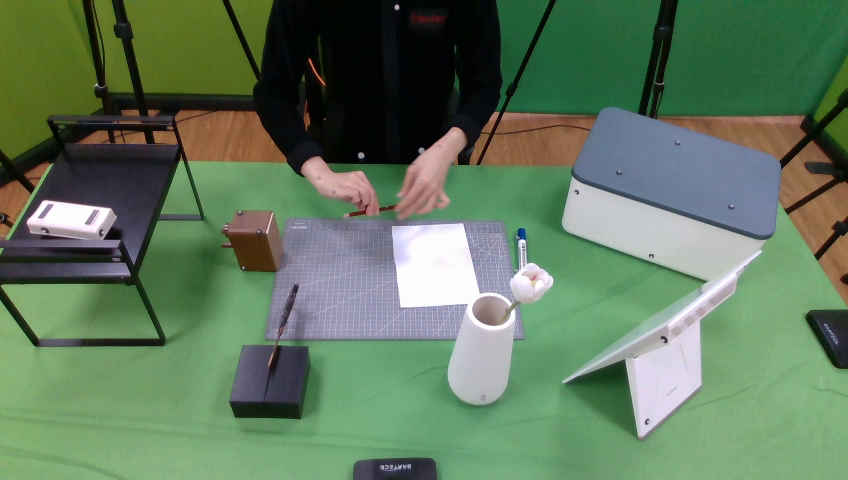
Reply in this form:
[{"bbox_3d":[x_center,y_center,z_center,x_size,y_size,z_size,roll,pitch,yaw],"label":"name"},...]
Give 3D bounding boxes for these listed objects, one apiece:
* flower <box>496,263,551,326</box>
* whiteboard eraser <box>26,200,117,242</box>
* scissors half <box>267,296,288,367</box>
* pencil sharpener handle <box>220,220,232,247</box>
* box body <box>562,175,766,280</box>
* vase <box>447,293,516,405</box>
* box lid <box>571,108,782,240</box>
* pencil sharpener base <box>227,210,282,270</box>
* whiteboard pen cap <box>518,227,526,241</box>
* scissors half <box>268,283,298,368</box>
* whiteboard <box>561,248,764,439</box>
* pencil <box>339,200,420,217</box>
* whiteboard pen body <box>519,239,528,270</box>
[{"bbox_3d":[0.102,0.121,0.853,0.044,0.363,0.038,-2,64,-10],"label":"flower"},{"bbox_3d":[-0.532,-0.026,0.919,0.113,0.042,0.055,7,45,3],"label":"whiteboard eraser"},{"bbox_3d":[-0.239,0.150,0.997,0.013,0.040,0.174,24,24,-13],"label":"scissors half"},{"bbox_3d":[-0.362,-0.009,1.105,0.030,0.068,0.036,1,52,1],"label":"pencil sharpener handle"},{"bbox_3d":[0.486,-0.088,1.222,0.363,0.161,0.253,20,48,15],"label":"box body"},{"bbox_3d":[0.091,0.169,0.921,0.098,0.201,0.097,3,47,-3],"label":"vase"},{"bbox_3d":[0.491,-0.139,1.168,0.370,0.015,0.262,21,49,15],"label":"box lid"},{"bbox_3d":[-0.311,0.001,1.112,0.077,0.107,0.061,1,47,1],"label":"pencil sharpener base"},{"bbox_3d":[0.197,-0.009,1.220,0.018,0.018,0.033,6,51,1],"label":"whiteboard pen cap"},{"bbox_3d":[-0.230,0.135,0.986,0.013,0.040,0.174,19,43,-11],"label":"scissors half"},{"bbox_3d":[0.386,0.176,0.905,0.217,0.306,0.143,-26,72,-27],"label":"whiteboard"},{"bbox_3d":[-0.083,-0.060,1.163,0.194,0.012,0.012,-13,46,-40],"label":"pencil"},{"bbox_3d":[0.193,0.035,1.181,0.017,0.017,0.140,6,48,1],"label":"whiteboard pen body"}]
